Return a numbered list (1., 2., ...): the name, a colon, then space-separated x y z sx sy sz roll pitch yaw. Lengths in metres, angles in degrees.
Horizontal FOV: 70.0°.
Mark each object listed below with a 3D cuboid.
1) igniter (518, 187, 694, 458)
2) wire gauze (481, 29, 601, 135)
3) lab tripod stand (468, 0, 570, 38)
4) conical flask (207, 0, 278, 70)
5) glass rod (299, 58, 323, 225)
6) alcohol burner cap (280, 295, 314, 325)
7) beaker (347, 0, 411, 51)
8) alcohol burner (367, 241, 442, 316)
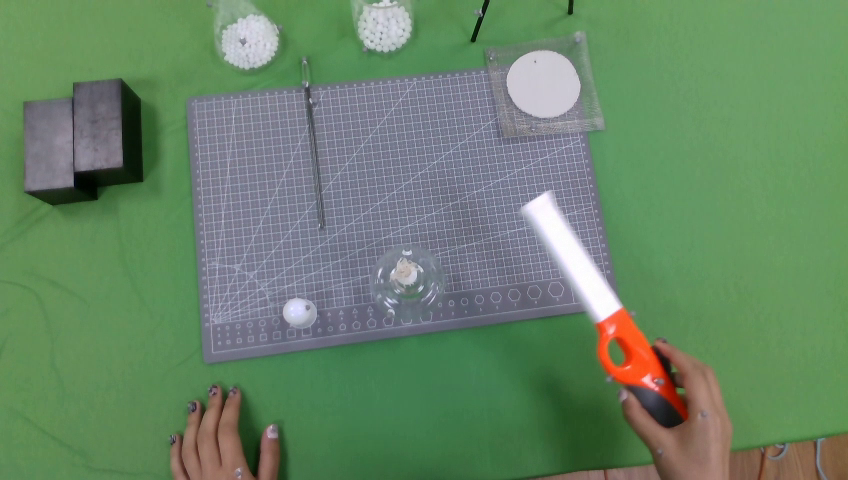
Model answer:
1. igniter: 0.172 0.077 0.564 0.057 0.025 0.276 -31 90 -13
2. wire gauze: 0.138 -0.184 0.710 0.125 0.011 0.121 -8 80 -4
3. lab tripod stand: 0.105 -0.305 0.671 0.148 0.132 0.148 1 81 -3
4. conical flask: -0.205 -0.242 0.650 0.075 0.122 0.075 1 78 -2
5. glass rod: -0.128 -0.114 0.682 0.008 0.008 0.199 -8 79 -4
6. alcohol burner cap: -0.134 0.071 0.631 0.034 0.048 0.033 1 79 -3
7. beaker: -0.050 -0.266 0.674 0.074 0.100 0.083 -5 78 -4
8. alcohol burner: -0.019 0.037 0.606 0.078 0.119 0.077 0 80 -2
